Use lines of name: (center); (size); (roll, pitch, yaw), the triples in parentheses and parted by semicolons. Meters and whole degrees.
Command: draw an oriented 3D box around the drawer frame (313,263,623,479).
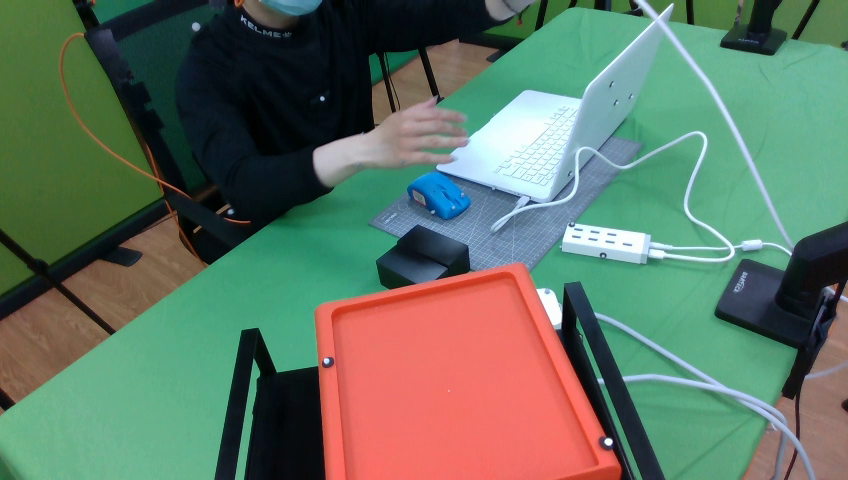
drawer frame: (0.021, 0.130, 0.493); (0.202, 0.083, 0.212); (-11, 41, -6)

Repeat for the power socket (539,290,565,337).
power socket: (0.081, 0.112, 0.822); (0.227, 0.033, 0.072); (-7, 41, 0)

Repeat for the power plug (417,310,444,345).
power plug: (0.007, 0.122, 0.785); (0.035, 0.053, 0.072); (0, 39, 7)

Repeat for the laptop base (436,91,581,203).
laptop base: (0.215, -0.192, 1.172); (0.233, 0.023, 0.355); (19, 46, 32)

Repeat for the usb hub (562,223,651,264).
usb hub: (0.279, 0.005, 0.925); (0.124, 0.025, 0.049); (10, 43, 19)

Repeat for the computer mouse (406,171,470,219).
computer mouse: (0.024, -0.082, 1.049); (0.063, 0.041, 0.116); (-30, 50, -27)

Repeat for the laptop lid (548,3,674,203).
laptop lid: (0.320, -0.235, 1.026); (0.013, 0.242, 0.357); (31, 50, 20)

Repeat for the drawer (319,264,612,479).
drawer: (0.020, 0.129, 0.497); (0.195, 0.073, 0.210); (-11, 41, -5)
